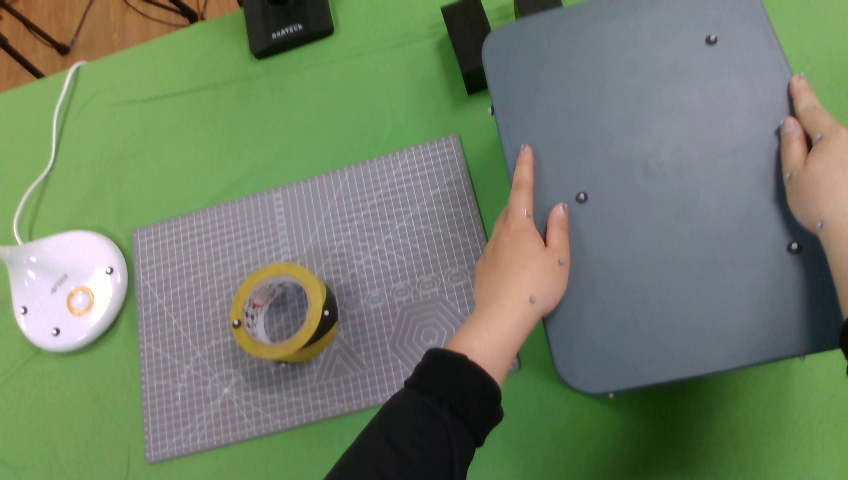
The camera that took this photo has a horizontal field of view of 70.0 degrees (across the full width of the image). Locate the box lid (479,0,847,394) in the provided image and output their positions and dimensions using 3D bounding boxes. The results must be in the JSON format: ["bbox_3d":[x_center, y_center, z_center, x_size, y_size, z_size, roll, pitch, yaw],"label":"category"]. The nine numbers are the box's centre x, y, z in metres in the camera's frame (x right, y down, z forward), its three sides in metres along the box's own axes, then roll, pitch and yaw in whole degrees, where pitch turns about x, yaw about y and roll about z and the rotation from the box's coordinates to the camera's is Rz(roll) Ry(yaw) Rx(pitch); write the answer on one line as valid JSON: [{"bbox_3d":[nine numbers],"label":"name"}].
[{"bbox_3d":[0.207,-0.068,0.540,0.263,0.015,0.368,-13,70,7],"label":"box lid"}]

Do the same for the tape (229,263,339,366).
[{"bbox_3d":[-0.163,0.087,0.704,0.116,0.053,0.116,-3,71,10],"label":"tape"}]

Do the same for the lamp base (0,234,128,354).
[{"bbox_3d":[-0.486,0.039,0.721,0.178,0.182,0.160,23,78,21],"label":"lamp base"}]

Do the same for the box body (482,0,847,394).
[{"bbox_3d":[0.222,-0.043,0.608,0.254,0.161,0.361,-13,70,7],"label":"box body"}]
